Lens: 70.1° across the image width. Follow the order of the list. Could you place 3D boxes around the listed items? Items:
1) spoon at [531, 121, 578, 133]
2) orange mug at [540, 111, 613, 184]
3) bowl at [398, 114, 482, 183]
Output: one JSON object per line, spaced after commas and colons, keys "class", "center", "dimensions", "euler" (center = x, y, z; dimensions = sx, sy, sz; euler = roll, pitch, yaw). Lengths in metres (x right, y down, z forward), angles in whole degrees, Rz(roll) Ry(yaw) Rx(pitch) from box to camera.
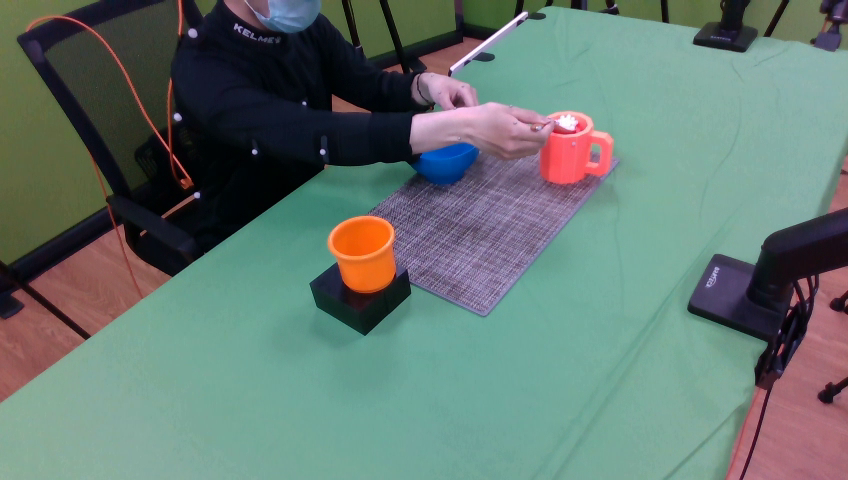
{"class": "spoon", "center": [0.208, -0.185, 0.980], "dimensions": [0.041, 0.021, 0.195], "euler": [10, 13, 28]}
{"class": "orange mug", "center": [0.263, -0.159, 1.052], "dimensions": [0.125, 0.101, 0.083], "euler": [12, 45, 29]}
{"class": "bowl", "center": [0.032, -0.156, 1.097], "dimensions": [0.151, 0.077, 0.150], "euler": [-4, 41, 4]}
